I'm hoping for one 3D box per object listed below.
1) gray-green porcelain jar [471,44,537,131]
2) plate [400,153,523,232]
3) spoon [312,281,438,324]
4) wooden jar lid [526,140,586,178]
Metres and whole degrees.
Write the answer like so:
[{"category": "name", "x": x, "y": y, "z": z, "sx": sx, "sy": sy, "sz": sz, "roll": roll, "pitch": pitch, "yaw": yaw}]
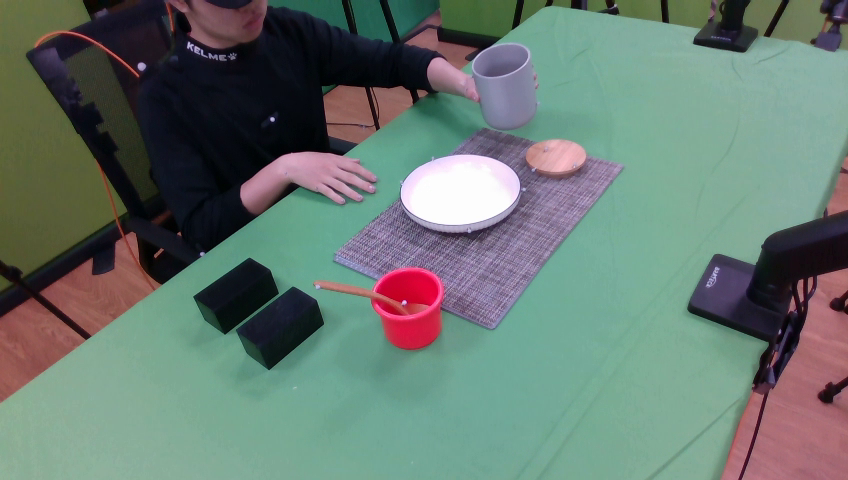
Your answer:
[{"category": "gray-green porcelain jar", "x": 0.149, "y": -0.273, "z": 1.104, "sx": 0.105, "sy": 0.127, "sz": 0.105, "roll": -10, "pitch": 47, "yaw": 11}, {"category": "plate", "x": 0.065, "y": -0.078, "z": 1.034, "sx": 0.207, "sy": 0.039, "sz": 0.206, "roll": -4, "pitch": 41, "yaw": 4}, {"category": "spoon", "x": -0.060, "y": 0.078, "z": 0.793, "sx": 0.195, "sy": 0.021, "sz": 0.041, "roll": 24, "pitch": 24, "yaw": -35}, {"category": "wooden jar lid", "x": 0.240, "y": -0.147, "z": 1.103, "sx": 0.108, "sy": 0.021, "sz": 0.108, "roll": -4, "pitch": 42, "yaw": 4}]
